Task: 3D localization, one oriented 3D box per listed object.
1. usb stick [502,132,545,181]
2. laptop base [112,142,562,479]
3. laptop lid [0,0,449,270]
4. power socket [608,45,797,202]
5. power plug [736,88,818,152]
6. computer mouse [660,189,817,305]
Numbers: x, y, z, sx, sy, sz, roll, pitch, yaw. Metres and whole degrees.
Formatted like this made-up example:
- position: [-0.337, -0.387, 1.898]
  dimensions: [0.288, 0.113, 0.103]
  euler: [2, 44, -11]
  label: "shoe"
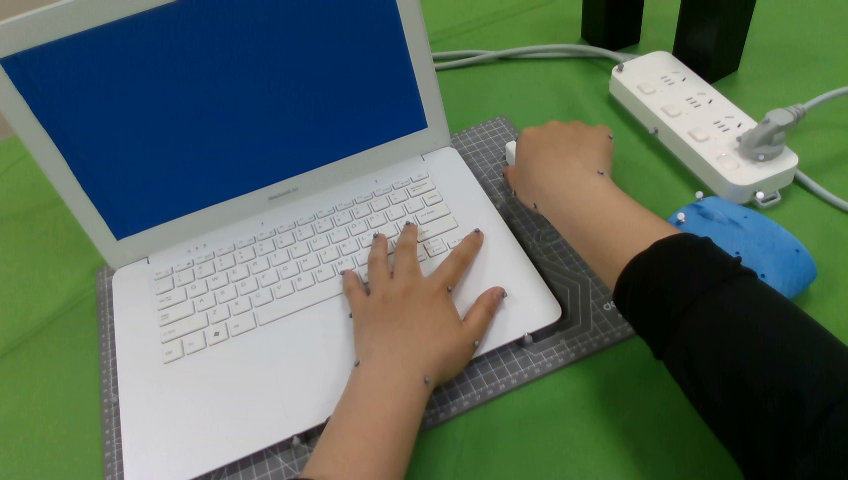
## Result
- position: [0.095, -0.086, 0.596]
  dimensions: [0.021, 0.027, 0.058]
  euler: [-18, 47, -15]
  label: "usb stick"
- position: [-0.090, 0.046, 0.530]
  dimensions: [0.354, 0.023, 0.233]
  euler: [-22, 53, -8]
  label: "laptop base"
- position: [-0.161, -0.123, 0.533]
  dimensions: [0.357, 0.244, 0.013]
  euler: [-24, 37, -7]
  label: "laptop lid"
- position: [0.262, -0.122, 0.591]
  dimensions: [0.072, 0.033, 0.224]
  euler: [-22, 49, -6]
  label: "power socket"
- position: [0.312, -0.096, 0.532]
  dimensions: [0.072, 0.053, 0.035]
  euler: [-14, 52, -1]
  label: "power plug"
- position: [0.250, -0.002, 0.489]
  dimensions: [0.063, 0.041, 0.116]
  euler: [-28, 46, -10]
  label: "computer mouse"
